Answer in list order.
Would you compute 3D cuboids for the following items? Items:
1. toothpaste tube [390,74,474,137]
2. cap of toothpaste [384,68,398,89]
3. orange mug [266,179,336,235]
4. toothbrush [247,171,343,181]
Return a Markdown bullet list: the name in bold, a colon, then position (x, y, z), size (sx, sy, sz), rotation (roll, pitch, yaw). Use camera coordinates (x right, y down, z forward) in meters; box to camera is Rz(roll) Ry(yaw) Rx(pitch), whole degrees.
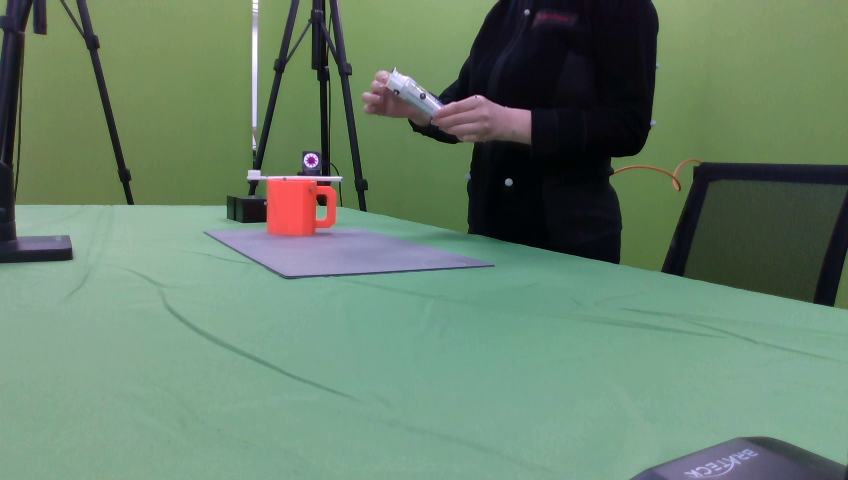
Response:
- **toothpaste tube**: position (0.015, -0.222, 1.001), size (0.165, 0.034, 0.055), rotation (30, 26, -14)
- **cap of toothpaste**: position (-0.052, -0.263, 0.984), size (0.011, 0.037, 0.037), rotation (26, 0, -17)
- **orange mug**: position (-0.222, -0.062, 1.094), size (0.127, 0.101, 0.083), rotation (-5, 10, -22)
- **toothbrush**: position (-0.230, -0.115, 1.092), size (0.183, 0.016, 0.014), rotation (-2, 6, -35)
